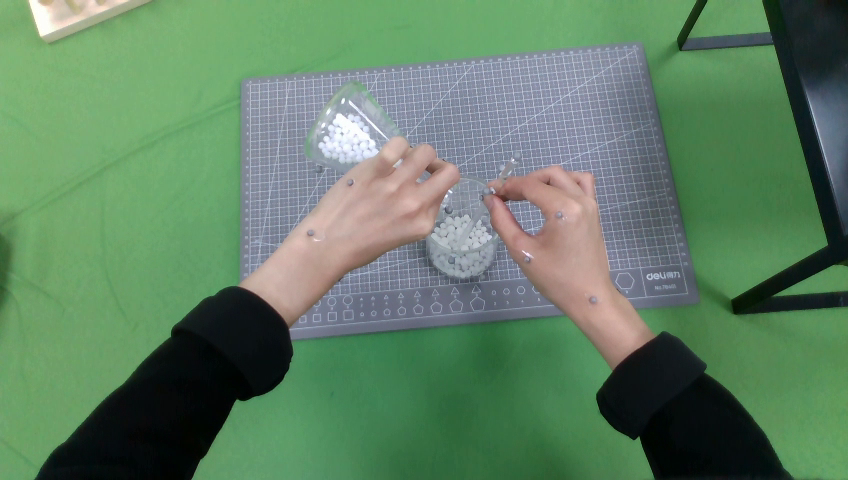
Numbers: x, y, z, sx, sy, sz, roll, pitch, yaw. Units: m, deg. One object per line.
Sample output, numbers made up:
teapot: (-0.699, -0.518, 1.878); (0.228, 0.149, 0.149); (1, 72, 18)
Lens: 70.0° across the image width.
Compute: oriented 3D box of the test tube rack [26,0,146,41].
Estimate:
test tube rack: (-0.351, -0.324, 0.691); (0.242, 0.086, 0.066); (-25, 73, -6)

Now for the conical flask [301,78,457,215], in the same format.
conical flask: (-0.032, -0.069, 0.496); (0.122, 0.075, 0.075); (34, 76, -7)

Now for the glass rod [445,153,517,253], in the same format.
glass rod: (0.043, -0.025, 0.515); (0.008, 0.200, 0.008); (4, 69, -11)

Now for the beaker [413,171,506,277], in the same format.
beaker: (0.032, -0.011, 0.568); (0.084, 0.101, 0.073); (18, 73, 9)
